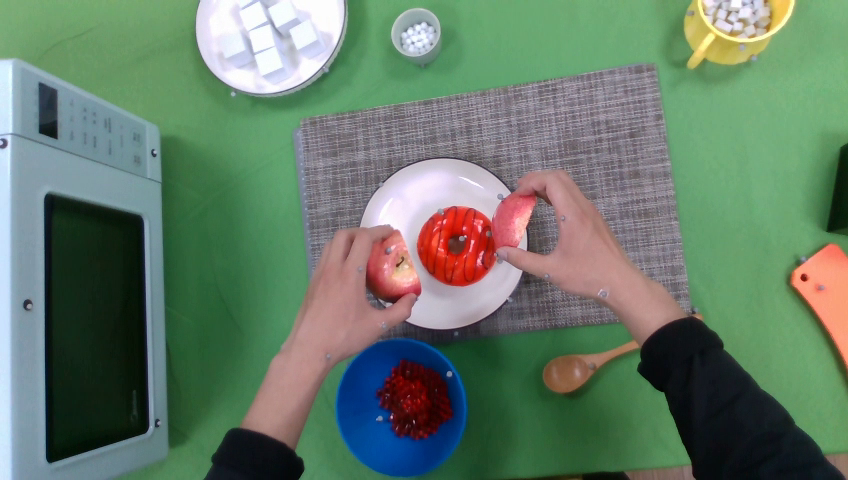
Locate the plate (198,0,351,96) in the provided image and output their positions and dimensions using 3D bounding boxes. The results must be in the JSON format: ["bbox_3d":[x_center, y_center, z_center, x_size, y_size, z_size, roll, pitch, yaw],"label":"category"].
[{"bbox_3d":[-0.193,-0.287,0.799,0.207,0.039,0.207,-1,85,10],"label":"plate"}]

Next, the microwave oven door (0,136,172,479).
[{"bbox_3d":[-0.370,0.087,0.674,0.039,0.245,0.354,-5,84,10],"label":"microwave oven door"}]

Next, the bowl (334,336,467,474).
[{"bbox_3d":[-0.020,0.185,0.705,0.151,0.077,0.151,-1,85,10],"label":"bowl"}]

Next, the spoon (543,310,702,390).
[{"bbox_3d":[0.228,0.123,0.695,0.194,0.022,0.041,-25,66,7],"label":"spoon"}]

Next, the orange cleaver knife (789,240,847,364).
[{"bbox_3d":[0.471,0.103,0.654,0.077,0.012,0.210,-22,80,2],"label":"orange cleaver knife"}]

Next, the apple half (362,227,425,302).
[{"bbox_3d":[-0.040,0.032,0.657,0.053,0.074,0.081,-25,93,-13],"label":"apple half"}]

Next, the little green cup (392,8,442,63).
[{"bbox_3d":[-0.006,-0.254,0.762,0.061,0.039,0.061,-1,84,10],"label":"little green cup"}]

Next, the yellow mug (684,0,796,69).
[{"bbox_3d":[0.344,-0.248,0.685,0.099,0.064,0.131,41,94,11],"label":"yellow mug"}]

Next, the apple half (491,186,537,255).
[{"bbox_3d":[0.088,-0.025,0.627,0.033,0.081,0.081,19,88,-1],"label":"apple half"}]

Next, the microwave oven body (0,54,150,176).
[{"bbox_3d":[-0.516,0.059,0.707,0.325,0.261,0.440,-5,84,9],"label":"microwave oven body"}]

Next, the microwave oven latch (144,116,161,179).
[{"bbox_3d":[-0.365,-0.120,0.795,0.030,0.029,0.079,-4,85,9],"label":"microwave oven latch"}]

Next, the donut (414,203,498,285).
[{"bbox_3d":[0.038,0.005,0.716,0.099,0.048,0.099,-1,87,11],"label":"donut"}]

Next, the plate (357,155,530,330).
[{"bbox_3d":[0.023,0.003,0.730,0.209,0.038,0.208,-1,85,10],"label":"plate"}]
